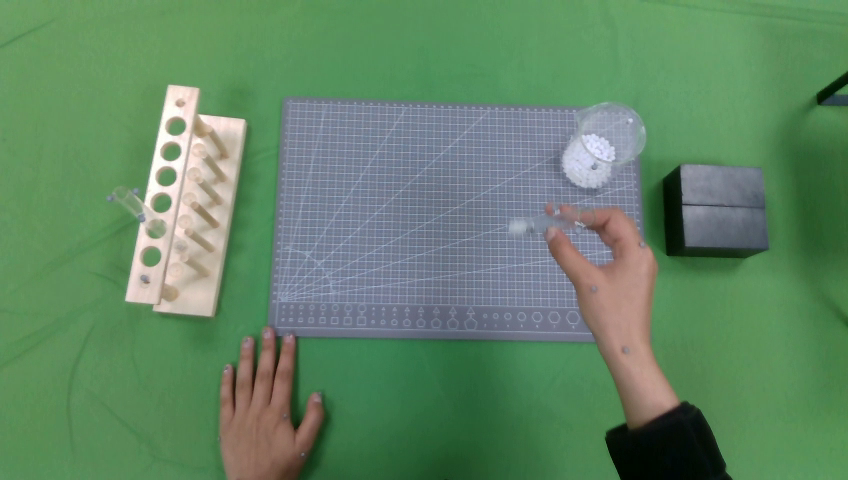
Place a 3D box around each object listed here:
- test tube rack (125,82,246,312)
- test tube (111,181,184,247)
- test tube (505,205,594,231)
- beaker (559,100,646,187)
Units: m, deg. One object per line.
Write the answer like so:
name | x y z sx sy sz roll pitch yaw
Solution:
test tube rack | -0.263 -0.046 0.685 0.067 0.085 0.241 6 77 -2
test tube | -0.282 -0.023 0.628 0.017 0.151 0.017 0 70 -1
test tube | 0.108 -0.018 0.547 0.017 0.150 0.017 0 88 -16
beaker | 0.202 -0.110 0.715 0.084 0.100 0.074 32 77 6
